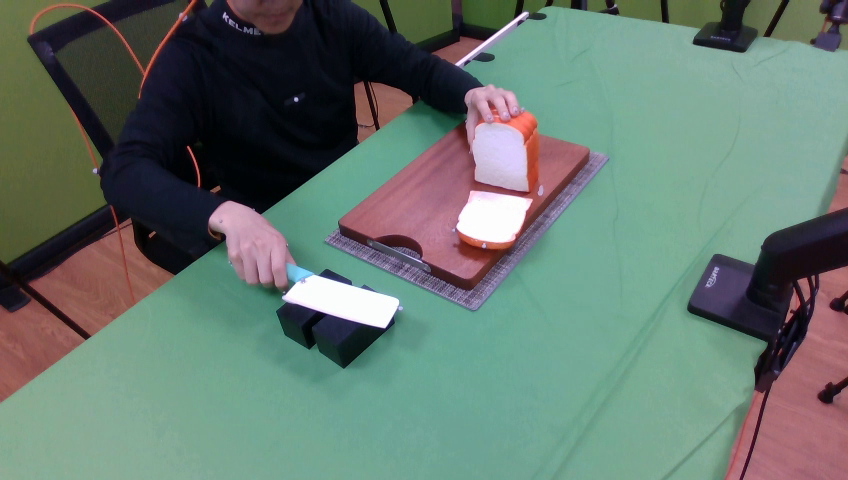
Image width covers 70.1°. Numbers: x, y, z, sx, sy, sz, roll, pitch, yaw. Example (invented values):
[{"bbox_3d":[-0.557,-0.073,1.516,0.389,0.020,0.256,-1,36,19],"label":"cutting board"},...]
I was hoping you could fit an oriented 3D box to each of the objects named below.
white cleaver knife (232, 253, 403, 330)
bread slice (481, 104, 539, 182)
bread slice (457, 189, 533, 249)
[{"bbox_3d":[-0.163,0.067,0.849,0.284,0.021,0.066,13,43,25],"label":"white cleaver knife"},{"bbox_3d":[0.144,-0.161,1.007,0.106,0.135,0.018,21,50,22],"label":"bread slice"},{"bbox_3d":[0.106,-0.032,0.945,0.104,0.019,0.131,11,40,16],"label":"bread slice"}]
